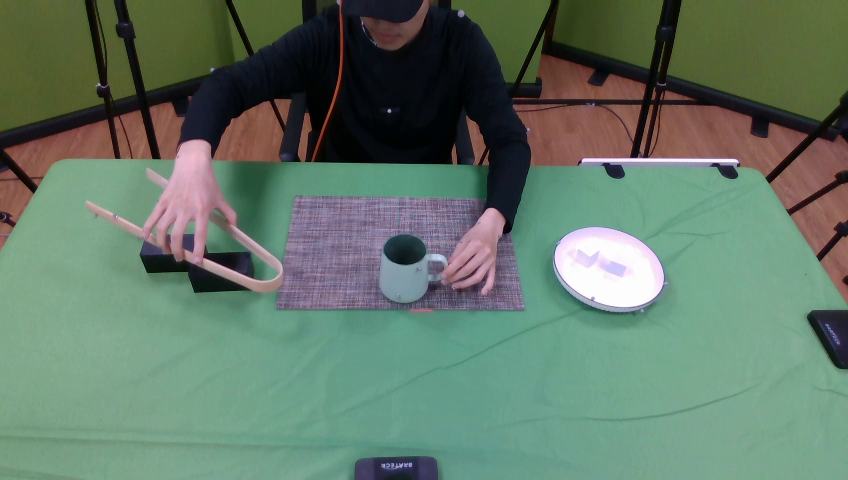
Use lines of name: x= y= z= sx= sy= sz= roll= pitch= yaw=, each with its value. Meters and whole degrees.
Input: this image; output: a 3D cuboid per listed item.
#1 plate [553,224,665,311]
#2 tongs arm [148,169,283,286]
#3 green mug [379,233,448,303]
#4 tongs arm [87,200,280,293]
plate: x=0.349 y=0.055 z=1.159 sx=0.209 sy=0.038 sz=0.208 roll=2 pitch=47 yaw=-2
tongs arm: x=-0.385 y=-0.032 z=1.102 sx=0.386 sy=0.028 sz=0.028 roll=33 pitch=40 yaw=22
green mug: x=-0.019 y=0.050 z=1.084 sx=0.125 sy=0.105 sz=0.092 roll=0 pitch=46 yaw=-4
tongs arm: x=-0.422 y=0.005 z=1.052 sx=0.384 sy=0.026 sz=0.050 roll=25 pitch=41 yaw=15
